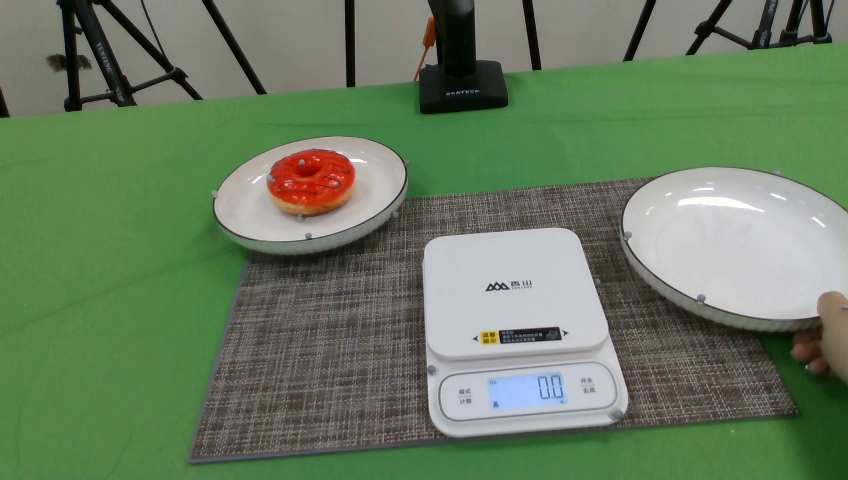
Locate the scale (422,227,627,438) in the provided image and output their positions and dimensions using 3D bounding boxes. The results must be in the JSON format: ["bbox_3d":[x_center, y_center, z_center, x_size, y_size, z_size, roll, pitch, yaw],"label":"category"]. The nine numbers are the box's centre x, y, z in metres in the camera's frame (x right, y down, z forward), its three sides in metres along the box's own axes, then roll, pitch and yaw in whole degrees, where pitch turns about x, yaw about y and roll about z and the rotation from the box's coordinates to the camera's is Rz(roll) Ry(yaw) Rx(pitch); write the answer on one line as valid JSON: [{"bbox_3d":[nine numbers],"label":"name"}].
[{"bbox_3d":[0.074,0.067,0.508,0.148,0.032,0.199,-5,42,2],"label":"scale"}]

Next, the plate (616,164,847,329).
[{"bbox_3d":[0.279,0.004,0.548,0.207,0.039,0.205,-3,41,3],"label":"plate"}]

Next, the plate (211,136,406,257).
[{"bbox_3d":[-0.122,-0.047,0.662,0.209,0.038,0.207,-4,39,4],"label":"plate"}]

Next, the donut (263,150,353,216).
[{"bbox_3d":[-0.126,-0.062,0.663,0.099,0.049,0.098,-3,39,3],"label":"donut"}]
